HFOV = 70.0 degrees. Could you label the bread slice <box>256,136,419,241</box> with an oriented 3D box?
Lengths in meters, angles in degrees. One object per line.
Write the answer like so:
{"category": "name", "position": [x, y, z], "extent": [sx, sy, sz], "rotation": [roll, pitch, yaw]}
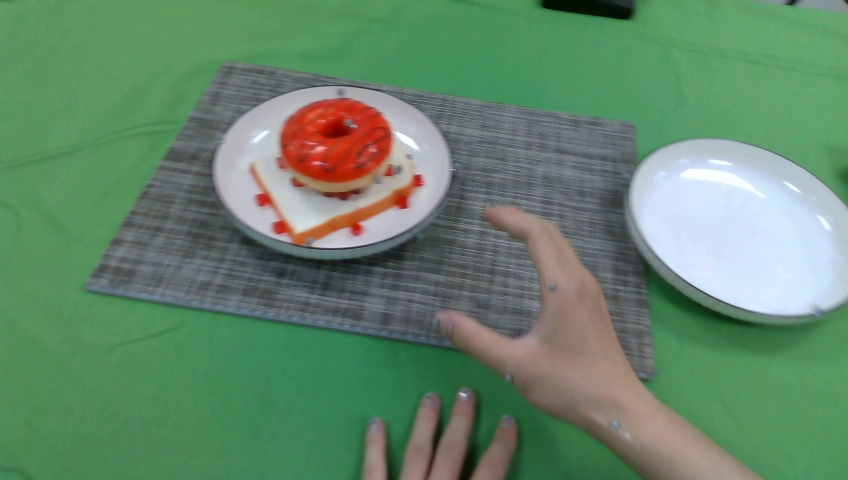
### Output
{"category": "bread slice", "position": [-0.073, -0.061, 0.546], "extent": [0.132, 0.019, 0.104], "rotation": [-25, 59, -21]}

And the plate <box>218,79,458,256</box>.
{"category": "plate", "position": [-0.075, -0.066, 0.546], "extent": [0.209, 0.038, 0.207], "rotation": [3, 52, -3]}

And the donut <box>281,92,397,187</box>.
{"category": "donut", "position": [-0.072, -0.087, 0.518], "extent": [0.099, 0.048, 0.098], "rotation": [3, 52, -3]}

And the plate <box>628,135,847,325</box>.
{"category": "plate", "position": [0.283, -0.010, 0.541], "extent": [0.208, 0.039, 0.205], "rotation": [3, 52, -3]}
